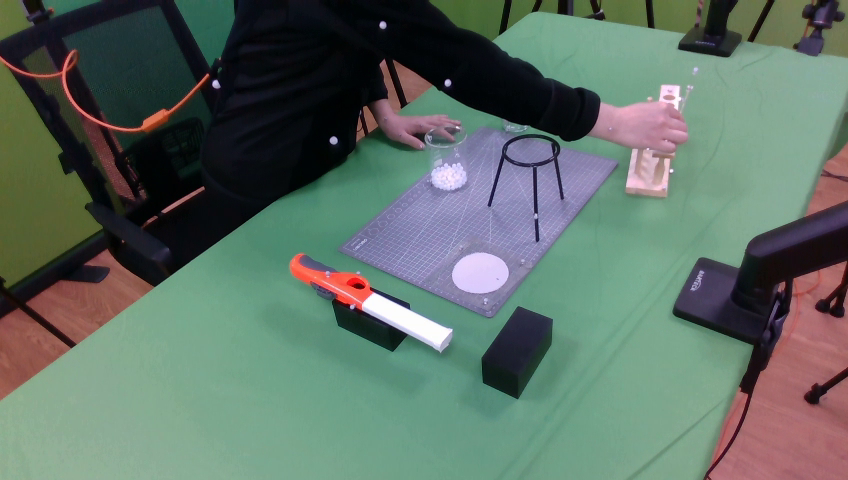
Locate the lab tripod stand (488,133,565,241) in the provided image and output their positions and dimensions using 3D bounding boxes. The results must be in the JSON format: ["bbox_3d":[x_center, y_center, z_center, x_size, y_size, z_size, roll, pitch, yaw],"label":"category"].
[{"bbox_3d":[0.169,-0.093,0.972,0.148,0.132,0.147,-5,41,5],"label":"lab tripod stand"}]

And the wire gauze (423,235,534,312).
[{"bbox_3d":[0.082,0.049,0.914,0.120,0.011,0.125,26,53,32],"label":"wire gauze"}]

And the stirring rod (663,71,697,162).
[{"bbox_3d":[0.411,-0.195,0.980,0.014,0.177,0.006,16,51,17],"label":"stirring rod"}]

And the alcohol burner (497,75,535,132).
[{"bbox_3d":[0.184,-0.278,1.210,0.078,0.119,0.077,-3,43,3],"label":"alcohol burner"}]

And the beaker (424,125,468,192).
[{"bbox_3d":[0.043,-0.144,1.078,0.073,0.100,0.084,28,51,34],"label":"beaker"}]

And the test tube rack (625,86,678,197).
[{"bbox_3d":[0.412,-0.184,1.088,0.066,0.085,0.242,9,43,18],"label":"test tube rack"}]

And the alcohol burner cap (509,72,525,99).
[{"bbox_3d":[0.181,-0.306,1.186,0.034,0.048,0.033,-7,39,6],"label":"alcohol burner cap"}]

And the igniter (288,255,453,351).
[{"bbox_3d":[-0.082,0.079,0.818,0.274,0.025,0.057,22,46,27],"label":"igniter"}]
